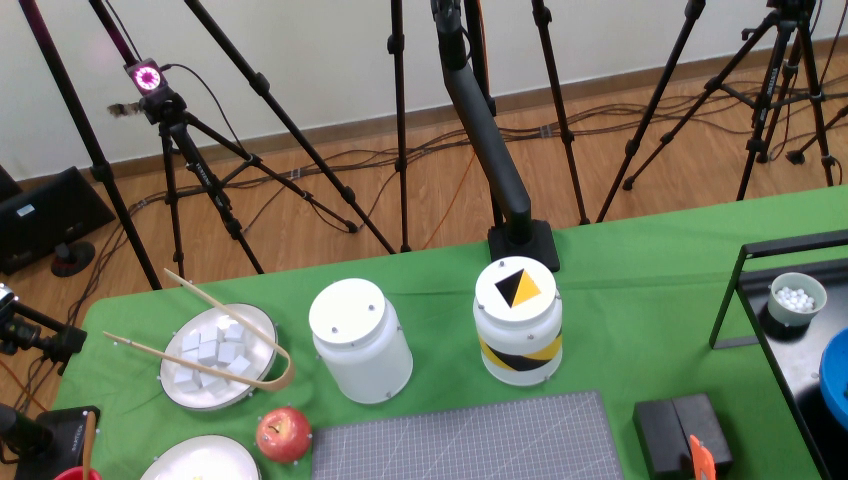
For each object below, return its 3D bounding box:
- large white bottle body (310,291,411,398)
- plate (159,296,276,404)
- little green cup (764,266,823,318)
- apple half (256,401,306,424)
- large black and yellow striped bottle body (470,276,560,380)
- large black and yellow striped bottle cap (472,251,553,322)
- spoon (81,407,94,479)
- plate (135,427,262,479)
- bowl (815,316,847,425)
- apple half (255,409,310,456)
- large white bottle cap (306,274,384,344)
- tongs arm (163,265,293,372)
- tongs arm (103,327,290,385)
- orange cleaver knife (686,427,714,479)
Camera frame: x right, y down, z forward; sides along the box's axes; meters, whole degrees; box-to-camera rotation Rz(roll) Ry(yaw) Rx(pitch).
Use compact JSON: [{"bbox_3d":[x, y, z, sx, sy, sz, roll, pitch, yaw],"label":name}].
[{"bbox_3d":[-0.100,0.152,0.949,0.130,0.186,0.129,-6,50,8],"label":"large white bottle body"},{"bbox_3d":[-0.357,0.195,1.066,0.207,0.039,0.205,-6,51,7],"label":"plate"},{"bbox_3d":[0.458,0.067,0.757,0.061,0.039,0.061,-6,51,8],"label":"little green cup"},{"bbox_3d":[-0.224,0.273,0.948,0.081,0.082,0.032,-21,55,-5],"label":"apple half"},{"bbox_3d":[0.141,0.118,0.926,0.130,0.186,0.129,-6,50,8],"label":"large black and yellow striped bottle body"},{"bbox_3d":[0.126,0.064,0.863,0.115,0.019,0.114,-5,52,7],"label":"large black and yellow striped bottle cap"},{"bbox_3d":[-0.503,0.344,0.904,0.041,0.022,0.194,7,98,18],"label":"spoon"},{"bbox_3d":[-0.339,0.386,0.904,0.209,0.038,0.207,-6,51,8],"label":"plate"},{"bbox_3d":[0.494,0.160,0.649,0.151,0.077,0.150,-6,50,8],"label":"bowl"},{"bbox_3d":[-0.211,0.301,0.924,0.081,0.075,0.053,-18,54,-7],"label":"apple half"},{"bbox_3d":[-0.116,0.099,0.884,0.115,0.018,0.113,-6,50,8],"label":"large white bottle cap"},{"bbox_3d":[-0.358,0.128,1.081,0.384,0.028,0.028,26,54,32],"label":"tongs arm"},{"bbox_3d":[-0.400,0.187,1.039,0.382,0.027,0.050,12,51,24],"label":"tongs arm"},{"bbox_3d":[0.360,0.344,0.757,0.012,0.077,0.210,-9,81,4],"label":"orange cleaver knife"}]
